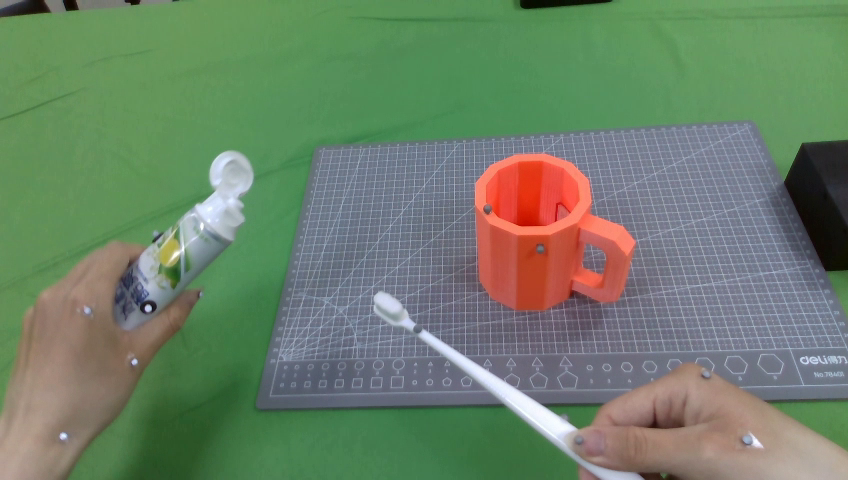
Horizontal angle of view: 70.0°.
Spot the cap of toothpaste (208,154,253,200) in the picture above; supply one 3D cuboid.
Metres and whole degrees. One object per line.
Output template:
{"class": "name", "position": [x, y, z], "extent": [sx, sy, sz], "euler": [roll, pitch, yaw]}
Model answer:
{"class": "cap of toothpaste", "position": [-0.139, -0.045, 0.440], "extent": [0.011, 0.038, 0.037], "euler": [5, 47, 42]}

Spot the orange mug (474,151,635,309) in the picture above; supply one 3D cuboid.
{"class": "orange mug", "position": [0.098, -0.001, 0.473], "extent": [0.125, 0.102, 0.083], "euler": [22, 56, 29]}

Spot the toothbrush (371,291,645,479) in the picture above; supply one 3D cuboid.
{"class": "toothbrush", "position": [0.038, 0.078, 0.329], "extent": [0.180, 0.017, 0.014], "euler": [32, 57, 25]}

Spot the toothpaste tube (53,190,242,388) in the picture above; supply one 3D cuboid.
{"class": "toothpaste tube", "position": [-0.190, 0.026, 0.422], "extent": [0.165, 0.035, 0.054], "euler": [-44, 63, 0]}
